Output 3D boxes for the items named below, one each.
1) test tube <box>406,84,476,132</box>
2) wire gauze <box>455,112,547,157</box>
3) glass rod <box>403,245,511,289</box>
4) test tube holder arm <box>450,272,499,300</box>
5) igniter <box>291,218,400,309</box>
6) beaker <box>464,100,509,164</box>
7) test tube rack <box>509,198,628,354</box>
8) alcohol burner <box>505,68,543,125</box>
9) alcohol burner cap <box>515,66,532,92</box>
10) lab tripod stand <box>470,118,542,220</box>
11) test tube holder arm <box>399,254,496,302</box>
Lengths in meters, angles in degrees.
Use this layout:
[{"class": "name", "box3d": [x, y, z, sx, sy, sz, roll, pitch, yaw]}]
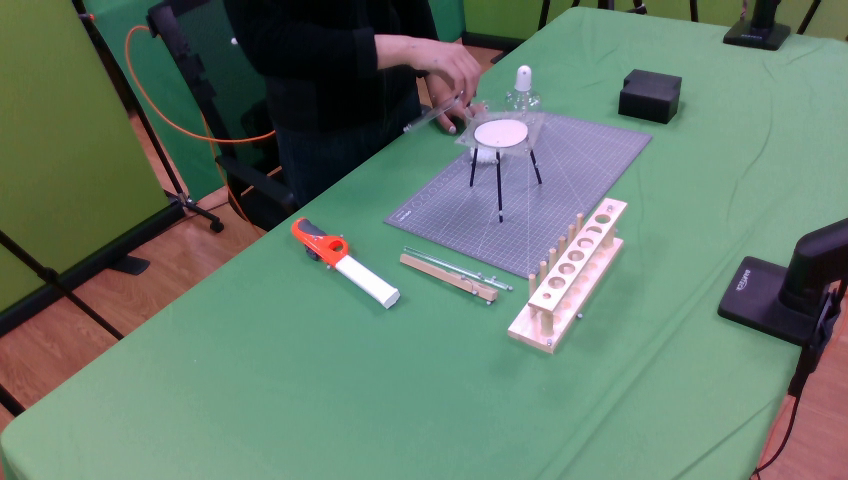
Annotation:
[{"class": "test tube", "box3d": [0.029, -0.225, 1.029, 0.150, 0.017, 0.017, -36, 46, -20]}, {"class": "wire gauze", "box3d": [0.125, -0.176, 0.973, 0.124, 0.011, 0.121, 10, 42, 22]}, {"class": "glass rod", "box3d": [0.047, 0.040, 0.939, 0.198, 0.008, 0.008, 21, 49, 30]}, {"class": "test tube holder arm", "box3d": [0.071, 0.068, 0.895, 0.087, 0.015, 0.010, 21, 15, 32]}, {"class": "igniter", "box3d": [-0.136, 0.031, 0.970, 0.057, 0.025, 0.274, -41, 49, -19]}, {"class": "beaker", "box3d": [0.120, -0.200, 1.134, 0.083, 0.101, 0.074, 5, 43, 16]}, {"class": "test tube rack", "box3d": [0.206, 0.039, 0.850, 0.066, 0.085, 0.243, 20, 48, 31]}, {"class": "alcohol burner", "box3d": [0.201, -0.293, 1.216, 0.078, 0.119, 0.077, -4, 41, 4]}, {"class": "alcohol burner cap", "box3d": [0.198, -0.320, 1.192, 0.034, 0.048, 0.033, 0, 47, 1]}, {"class": "lab tripod stand", "box3d": [0.135, -0.128, 1.019, 0.148, 0.132, 0.147, -5, 38, 5]}, {"class": "test tube holder arm", "box3d": [0.032, 0.055, 0.914, 0.177, 0.015, 0.013, 21, 15, 32]}]
